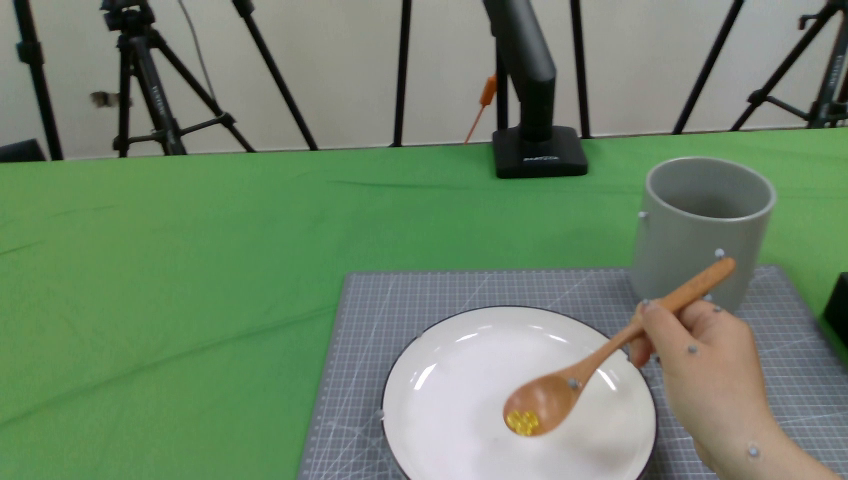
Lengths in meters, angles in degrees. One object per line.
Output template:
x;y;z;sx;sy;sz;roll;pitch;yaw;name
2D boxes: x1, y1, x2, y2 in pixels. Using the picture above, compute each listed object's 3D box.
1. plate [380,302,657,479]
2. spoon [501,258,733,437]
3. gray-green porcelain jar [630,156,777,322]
0.071;0.132;0.476;0.207;0.039;0.205;-3;37;2;plate
0.135;0.075;0.424;0.194;0.022;0.041;-41;43;10;spoon
0.248;0.003;0.554;0.106;0.127;0.105;-3;37;3;gray-green porcelain jar
